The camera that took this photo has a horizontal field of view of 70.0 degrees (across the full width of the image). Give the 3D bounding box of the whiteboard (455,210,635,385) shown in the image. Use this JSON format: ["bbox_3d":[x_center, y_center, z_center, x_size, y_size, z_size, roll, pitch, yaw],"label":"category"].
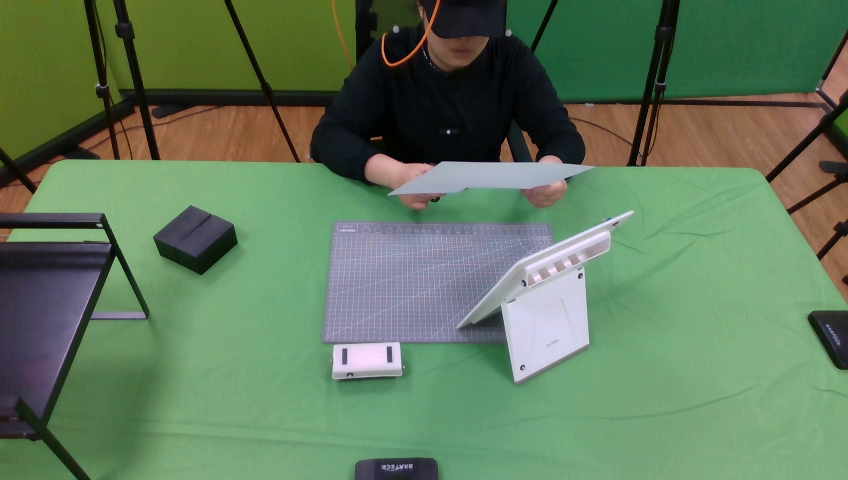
[{"bbox_3d":[0.211,0.111,0.955,0.217,0.306,0.143,-21,71,-23],"label":"whiteboard"}]

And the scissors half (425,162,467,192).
[{"bbox_3d":[0.042,-0.118,1.171,0.013,0.040,0.174,0,21,-26],"label":"scissors half"}]

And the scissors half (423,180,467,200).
[{"bbox_3d":[0.040,-0.098,1.176,0.013,0.040,0.174,-6,5,-25],"label":"scissors half"}]

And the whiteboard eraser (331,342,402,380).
[{"bbox_3d":[-0.094,0.198,0.986,0.113,0.042,0.055,-2,44,-6],"label":"whiteboard eraser"}]

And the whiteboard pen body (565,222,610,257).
[{"bbox_3d":[0.335,-0.004,1.228,0.141,0.017,0.017,-32,56,-29],"label":"whiteboard pen body"}]

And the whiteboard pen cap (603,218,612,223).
[{"bbox_3d":[0.379,-0.031,1.255,0.033,0.018,0.018,-33,56,-30],"label":"whiteboard pen cap"}]
